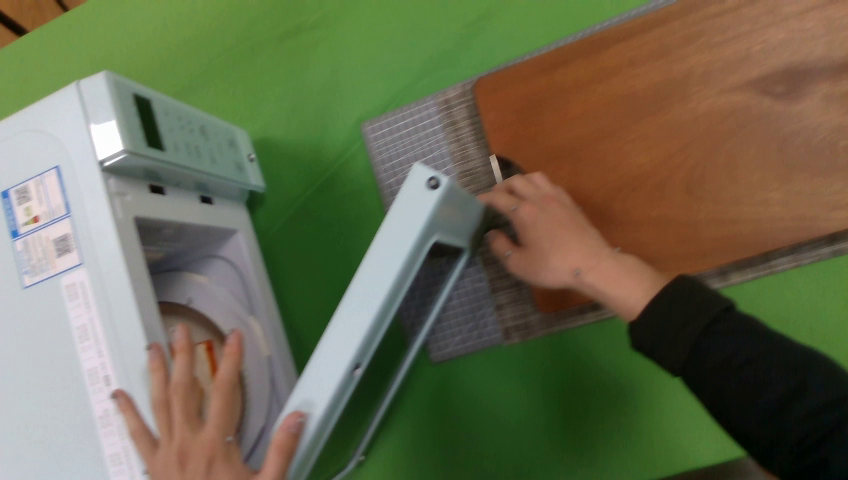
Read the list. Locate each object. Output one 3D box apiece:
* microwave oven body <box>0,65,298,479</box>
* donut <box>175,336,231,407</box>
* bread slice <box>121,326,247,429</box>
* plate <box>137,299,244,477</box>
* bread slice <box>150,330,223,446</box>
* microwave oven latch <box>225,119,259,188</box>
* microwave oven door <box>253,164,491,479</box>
[{"bbox_3d":[-0.329,0.109,0.652,0.326,0.261,0.440,-21,84,12],"label":"microwave oven body"},{"bbox_3d":[-0.264,0.155,0.671,0.099,0.048,0.099,-1,103,-3],"label":"donut"},{"bbox_3d":[-0.286,0.170,0.712,0.131,0.019,0.105,-17,95,-1],"label":"bread slice"},{"bbox_3d":[-0.299,0.170,0.692,0.207,0.039,0.207,-1,87,10],"label":"plate"},{"bbox_3d":[-0.274,0.171,0.624,0.134,0.018,0.106,-42,82,22],"label":"bread slice"},{"bbox_3d":[-0.228,-0.104,0.732,0.030,0.029,0.079,-22,84,12],"label":"microwave oven latch"},{"bbox_3d":[-0.049,0.106,0.578,0.039,0.245,0.356,28,95,14],"label":"microwave oven door"}]
